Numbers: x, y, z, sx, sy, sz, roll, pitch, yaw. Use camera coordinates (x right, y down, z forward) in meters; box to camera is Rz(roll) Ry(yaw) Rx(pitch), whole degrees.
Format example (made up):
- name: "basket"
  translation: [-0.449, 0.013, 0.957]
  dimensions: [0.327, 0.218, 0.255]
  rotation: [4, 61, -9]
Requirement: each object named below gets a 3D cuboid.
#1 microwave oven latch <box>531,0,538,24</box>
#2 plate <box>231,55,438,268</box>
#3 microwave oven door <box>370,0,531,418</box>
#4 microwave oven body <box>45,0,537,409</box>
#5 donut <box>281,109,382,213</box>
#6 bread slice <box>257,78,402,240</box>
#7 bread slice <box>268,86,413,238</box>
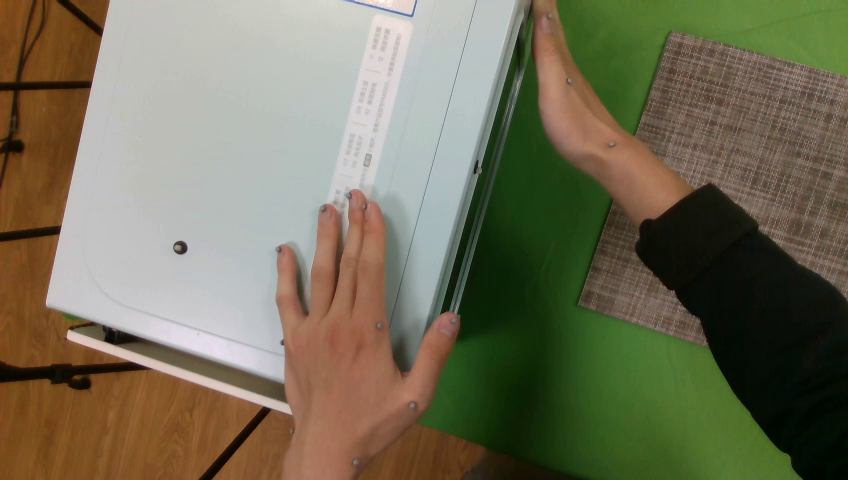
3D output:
- name: "microwave oven latch"
  translation: [0.107, -0.263, 0.612]
  dimensions: [0.030, 0.029, 0.079]
  rotation: [16, 96, 7]
- name: "plate"
  translation: [-0.087, -0.076, 0.608]
  dimensions: [0.207, 0.039, 0.207]
  rotation: [0, 94, 7]
- name: "microwave oven door"
  translation: [0.032, -0.048, 0.534]
  dimensions: [0.039, 0.244, 0.356]
  rotation: [15, 95, 9]
- name: "microwave oven body"
  translation: [-0.096, -0.128, 0.554]
  dimensions: [0.325, 0.260, 0.442]
  rotation: [16, 96, 7]
- name: "donut"
  translation: [-0.088, -0.075, 0.579]
  dimensions: [0.099, 0.048, 0.099]
  rotation: [0, 93, 4]
- name: "bread slice"
  translation: [-0.096, -0.078, 0.553]
  dimensions: [0.105, 0.019, 0.131]
  rotation: [-27, 92, 11]
- name: "bread slice"
  translation: [-0.091, -0.083, 0.605]
  dimensions: [0.107, 0.018, 0.134]
  rotation: [-32, 94, 1]
